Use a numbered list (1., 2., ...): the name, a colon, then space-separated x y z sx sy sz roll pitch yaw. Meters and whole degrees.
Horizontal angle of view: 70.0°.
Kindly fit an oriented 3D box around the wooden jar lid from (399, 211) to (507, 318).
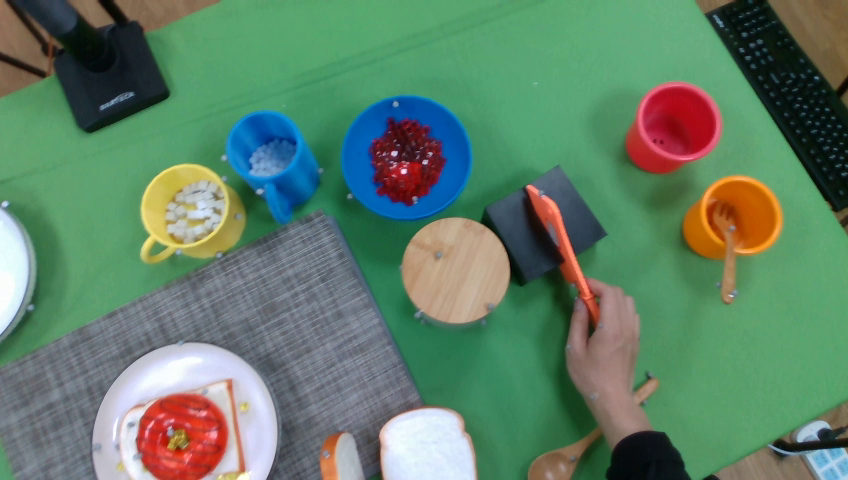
1. wooden jar lid: 0.029 0.025 0.610 0.108 0.021 0.108 1 80 -3

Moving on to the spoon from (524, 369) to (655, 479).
1. spoon: 0.193 0.210 0.690 0.194 0.022 0.041 -37 63 -7

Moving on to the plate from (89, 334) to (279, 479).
1. plate: -0.263 0.210 0.679 0.209 0.038 0.208 0 79 0

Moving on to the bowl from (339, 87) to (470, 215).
1. bowl: -0.021 -0.095 0.722 0.151 0.077 0.150 0 79 0

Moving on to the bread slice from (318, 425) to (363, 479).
1. bread slice: -0.081 0.265 0.640 0.018 0.107 0.133 -14 76 3

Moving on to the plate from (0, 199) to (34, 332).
1. plate: -0.563 0.037 0.717 0.208 0.039 0.206 0 79 0

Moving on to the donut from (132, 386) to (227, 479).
1. donut: -0.261 0.207 0.652 0.099 0.048 0.098 1 80 -4

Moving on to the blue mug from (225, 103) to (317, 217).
1. blue mug: -0.174 -0.084 0.706 0.082 0.106 0.116 -6 79 -1

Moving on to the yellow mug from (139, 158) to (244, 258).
1. yellow mug: -0.283 -0.028 0.715 0.099 0.064 0.131 41 83 8

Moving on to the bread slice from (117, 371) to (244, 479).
1. bread slice: -0.276 0.215 0.682 0.132 0.019 0.104 -14 79 -6

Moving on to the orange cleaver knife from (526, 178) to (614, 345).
1. orange cleaver knife: 0.166 0.025 0.696 0.012 0.076 0.212 -28 106 -3

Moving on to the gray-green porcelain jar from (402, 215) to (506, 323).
1. gray-green porcelain jar: 0.031 0.038 0.672 0.106 0.127 0.105 0 78 0

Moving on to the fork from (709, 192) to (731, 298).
1. fork: 0.328 0.000 0.667 0.028 0.019 0.206 36 37 1
